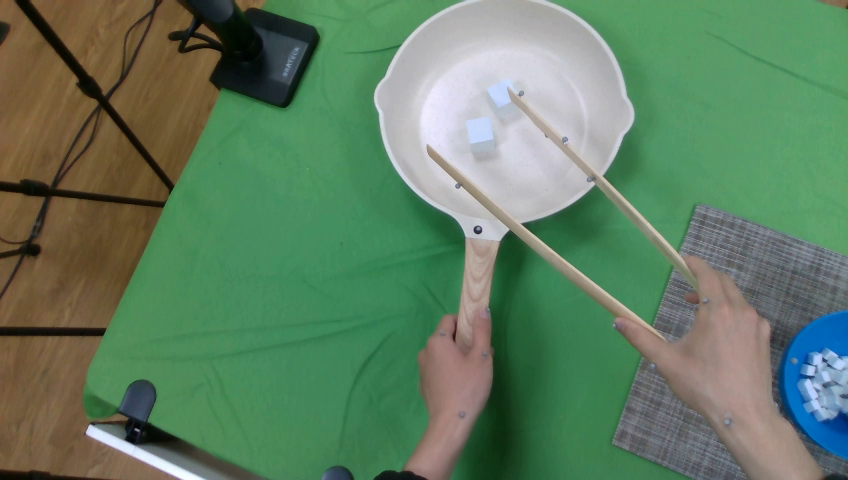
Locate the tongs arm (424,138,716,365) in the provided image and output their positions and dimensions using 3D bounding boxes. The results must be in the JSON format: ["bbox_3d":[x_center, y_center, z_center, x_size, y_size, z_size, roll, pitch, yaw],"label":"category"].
[{"bbox_3d":[0.121,-0.004,0.616,0.028,0.028,0.383,-38,56,-14],"label":"tongs arm"}]

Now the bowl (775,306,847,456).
[{"bbox_3d":[0.437,0.148,0.636,0.151,0.077,0.150,-1,78,6],"label":"bowl"}]

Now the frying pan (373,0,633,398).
[{"bbox_3d":[0.074,-0.061,0.710,0.306,0.103,0.485,8,71,9],"label":"frying pan"}]

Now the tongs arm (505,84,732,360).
[{"bbox_3d":[0.175,-0.042,0.622,0.051,0.027,0.380,-32,56,-6],"label":"tongs arm"}]
